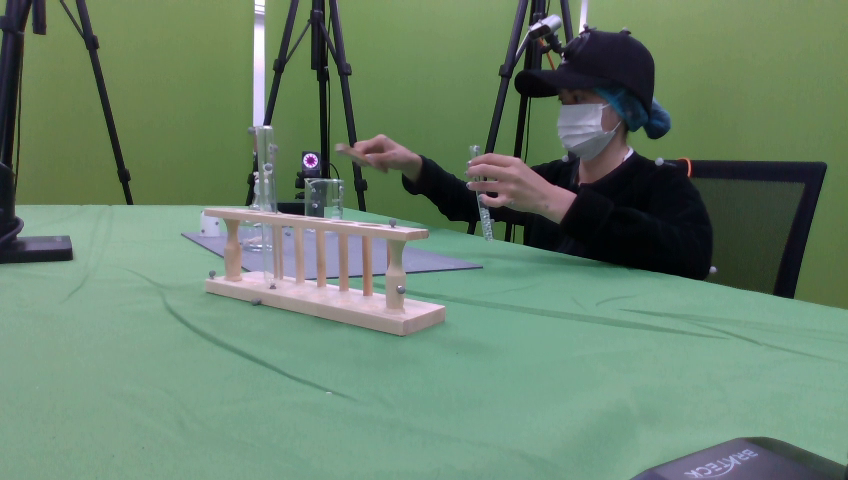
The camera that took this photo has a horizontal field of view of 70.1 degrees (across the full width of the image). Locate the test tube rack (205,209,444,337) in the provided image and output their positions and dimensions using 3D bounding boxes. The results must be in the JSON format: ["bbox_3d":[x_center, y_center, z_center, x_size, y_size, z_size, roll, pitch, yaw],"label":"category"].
[{"bbox_3d":[-0.100,0.021,0.565,0.241,0.085,0.067,7,8,32],"label":"test tube rack"}]

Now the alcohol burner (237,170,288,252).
[{"bbox_3d":[-0.236,-0.042,0.882,0.078,0.119,0.078,2,9,0],"label":"alcohol burner"}]

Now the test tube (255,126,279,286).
[{"bbox_3d":[-0.147,-0.031,0.567,0.017,0.150,0.017,-1,8,0],"label":"test tube"}]

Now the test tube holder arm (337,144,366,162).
[{"bbox_3d":[-0.136,-0.165,1.151,0.010,0.015,0.088,1,-8,26],"label":"test tube holder arm"}]

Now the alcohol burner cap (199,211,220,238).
[{"bbox_3d":[-0.356,-0.027,1.002,0.034,0.048,0.034,2,7,0],"label":"alcohol burner cap"}]

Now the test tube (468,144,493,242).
[{"bbox_3d":[0.086,-0.071,0.917,0.017,0.150,0.017,-9,0,0],"label":"test tube"}]

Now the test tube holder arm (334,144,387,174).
[{"bbox_3d":[-0.122,-0.158,1.193,0.013,0.015,0.179,1,-8,26],"label":"test tube holder arm"}]

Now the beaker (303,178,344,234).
[{"bbox_3d":[-0.189,-0.063,1.119,0.073,0.100,0.084,6,9,28],"label":"beaker"}]
